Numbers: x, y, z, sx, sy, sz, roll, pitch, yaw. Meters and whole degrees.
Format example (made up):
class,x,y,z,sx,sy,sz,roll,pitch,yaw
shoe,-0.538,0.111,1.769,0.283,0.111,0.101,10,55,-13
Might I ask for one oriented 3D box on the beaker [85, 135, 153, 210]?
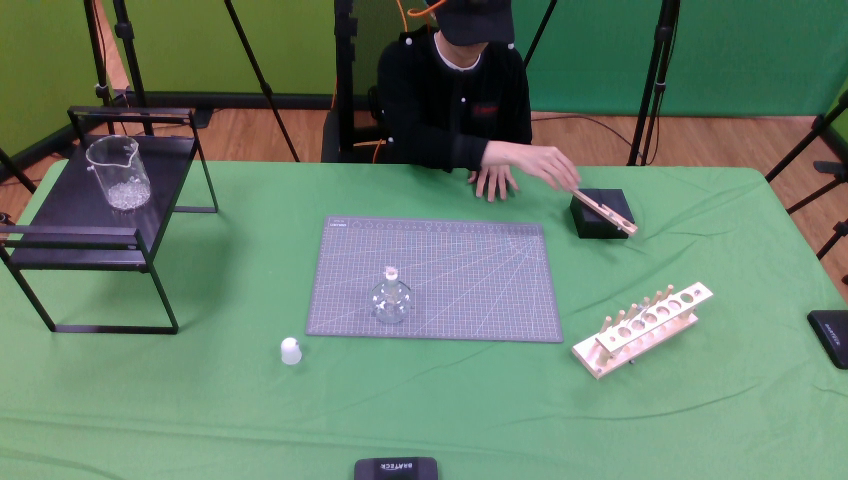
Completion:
class,x,y,z,sx,sy,sz,roll,pitch,yaw
beaker,-0.475,-0.102,0.957,0.083,0.101,0.074,34,53,26

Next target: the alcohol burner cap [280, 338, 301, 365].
class,x,y,z,sx,sy,sz,roll,pitch,yaw
alcohol burner cap,-0.220,0.179,0.993,0.034,0.048,0.033,2,46,-2

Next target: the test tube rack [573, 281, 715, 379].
class,x,y,z,sx,sy,sz,roll,pitch,yaw
test tube rack,0.378,0.140,1.038,0.242,0.085,0.066,-22,51,-23

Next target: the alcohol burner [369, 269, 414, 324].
class,x,y,z,sx,sy,sz,roll,pitch,yaw
alcohol burner,-0.056,0.089,1.037,0.078,0.120,0.077,1,47,-1

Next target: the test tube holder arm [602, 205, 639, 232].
class,x,y,z,sx,sy,sz,roll,pitch,yaw
test tube holder arm,0.384,-0.041,1.196,0.010,0.015,0.087,-30,56,-32

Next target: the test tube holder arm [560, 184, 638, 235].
class,x,y,z,sx,sy,sz,roll,pitch,yaw
test tube holder arm,0.348,-0.063,1.213,0.177,0.015,0.013,36,51,26

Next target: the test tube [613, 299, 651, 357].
class,x,y,z,sx,sy,sz,roll,pitch,yaw
test tube,0.328,0.143,0.962,0.017,0.151,0.017,3,48,-3
